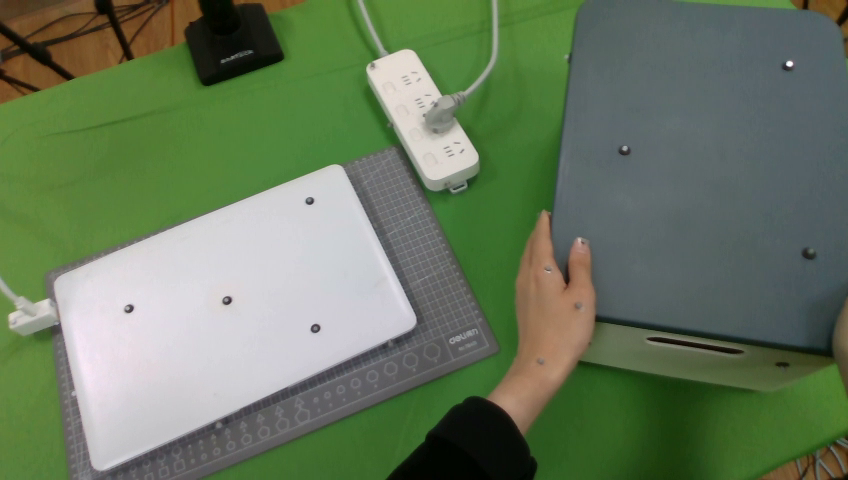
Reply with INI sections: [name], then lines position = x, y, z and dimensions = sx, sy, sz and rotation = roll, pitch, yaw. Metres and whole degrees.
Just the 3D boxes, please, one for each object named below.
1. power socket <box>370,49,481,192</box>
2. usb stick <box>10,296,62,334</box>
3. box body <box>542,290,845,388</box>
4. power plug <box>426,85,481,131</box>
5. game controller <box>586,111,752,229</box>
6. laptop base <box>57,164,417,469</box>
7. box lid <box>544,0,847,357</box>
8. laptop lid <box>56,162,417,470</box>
[power socket]
position = -0.001, -0.157, 0.768
dimensions = 0.072, 0.033, 0.224
rotation = -22, 63, -9
[usb stick]
position = -0.419, 0.080, 0.668
dimensions = 0.059, 0.027, 0.021
rotation = -20, 58, -10
[box body]
position = 0.264, -0.050, 0.621
dimensions = 0.254, 0.162, 0.361
rotation = 8, 64, 8
[power plug]
position = 0.038, -0.153, 0.738
dimensions = 0.072, 0.053, 0.035
rotation = -12, 62, -4
[game controller]
position = 0.254, -0.079, 0.618
dimensions = 0.154, 0.052, 0.096
rotation = 22, 60, 15
[laptop base]
position = -0.211, 0.069, 0.674
dimensions = 0.354, 0.023, 0.233
rotation = -24, 67, -8
[box lid]
position = 0.259, -0.087, 0.555
dimensions = 0.263, 0.015, 0.369
rotation = 8, 64, 9
[laptop lid]
position = -0.211, 0.066, 0.663
dimensions = 0.357, 0.013, 0.239
rotation = -22, 66, -7
